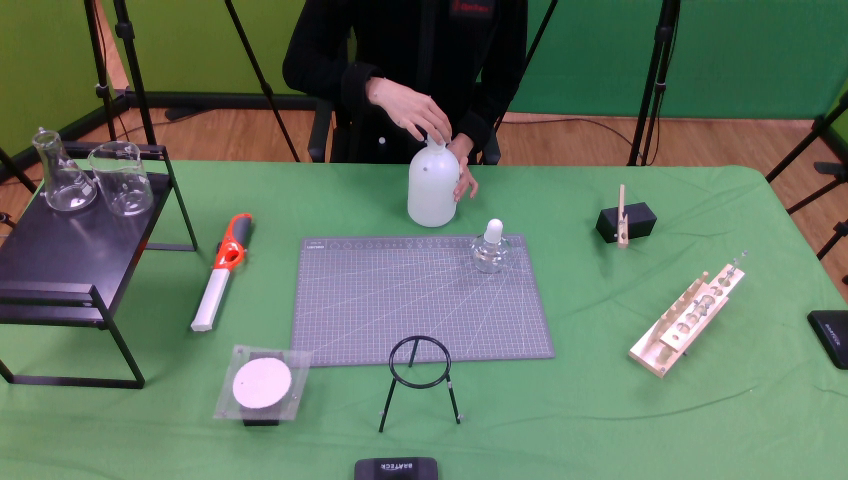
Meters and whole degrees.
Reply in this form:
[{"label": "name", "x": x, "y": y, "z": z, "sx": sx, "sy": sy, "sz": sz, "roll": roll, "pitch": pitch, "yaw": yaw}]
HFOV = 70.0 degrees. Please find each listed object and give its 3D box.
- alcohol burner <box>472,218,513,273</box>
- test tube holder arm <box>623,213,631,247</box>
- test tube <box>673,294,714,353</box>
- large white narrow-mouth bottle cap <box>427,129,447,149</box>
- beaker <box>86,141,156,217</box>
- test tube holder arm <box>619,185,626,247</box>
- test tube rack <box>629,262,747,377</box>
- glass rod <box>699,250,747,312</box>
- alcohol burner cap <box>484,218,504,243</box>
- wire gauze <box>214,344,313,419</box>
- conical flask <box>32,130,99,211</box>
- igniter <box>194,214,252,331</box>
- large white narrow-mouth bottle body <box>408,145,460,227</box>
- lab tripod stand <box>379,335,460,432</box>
[{"label": "alcohol burner", "x": 0.128, "y": 0.005, "z": 1.132, "sx": 0.078, "sy": 0.120, "sz": 0.077, "roll": 0, "pitch": 47, "yaw": 0}, {"label": "test tube holder arm", "x": 0.393, "y": -0.020, "z": 1.179, "sx": 0.010, "sy": 0.015, "sz": 0.087, "roll": 12, "pitch": 46, "yaw": 2}, {"label": "test tube", "x": 0.428, "y": 0.137, "z": 0.978, "sx": 0.017, "sy": 0.151, "sz": 0.017, "roll": 4, "pitch": 47, "yaw": -4}, {"label": "large white narrow-mouth bottle cap", "x": 0.025, "y": -0.189, "z": 1.129, "sx": 0.038, "sy": 0.024, "sz": 0.037, "roll": 2, "pitch": 46, "yaw": -2}, {"label": "beaker", "x": -0.467, "y": -0.092, "z": 0.950, "sx": 0.084, "sy": 0.101, "sz": 0.073, "roll": 15, "pitch": 47, "yaw": 11}, {"label": "test tube holder arm", "x": 0.397, "y": -0.052, "z": 1.210, "sx": 0.013, "sy": 0.015, "sz": 0.177, "roll": 14, "pitch": 46, "yaw": 4}, {"label": "test tube rack", "x": 0.464, "y": 0.126, "z": 1.061, "sx": 0.242, "sy": 0.085, "sz": 0.066, "roll": -34, "pitch": 56, "yaw": -30}, {"label": "glass rod", "x": 0.500, "y": 0.075, "z": 1.021, "sx": 0.008, "sy": 0.201, "sz": 0.008, "roll": 0, "pitch": 55, "yaw": 0}, {"label": "alcohol burner cap", "x": 0.130, "y": -0.021, "z": 1.106, "sx": 0.034, "sy": 0.048, "sz": 0.033, "roll": 3, "pitch": 51, "yaw": -3}, {"label": "wire gauze", "x": -0.241, "y": 0.213, "z": 0.916, "sx": 0.121, "sy": 0.011, "sz": 0.124, "roll": 5, "pitch": 46, "yaw": 1}, {"label": "conical flask", "x": -0.565, "y": -0.111, "z": 0.944, "sx": 0.075, "sy": 0.122, "sz": 0.075, "roll": 2, "pitch": 46, "yaw": -2}, {"label": "igniter", "x": -0.367, "y": 0.050, "z": 1.119, "sx": 0.057, "sy": 0.025, "sz": 0.275, "roll": -4, "pitch": 46, "yaw": 7}, {"label": "large white narrow-mouth bottle body", "x": 0.021, "y": -0.124, "z": 1.198, "sx": 0.102, "sy": 0.195, "sz": 0.101, "roll": 2, "pitch": 46, "yaw": -2}, {"label": "lab tripod stand", "x": -0.011, "y": 0.214, "z": 0.911, "sx": 0.148, "sy": 0.132, "sz": 0.147, "roll": 1, "pitch": 45, "yaw": 0}]
